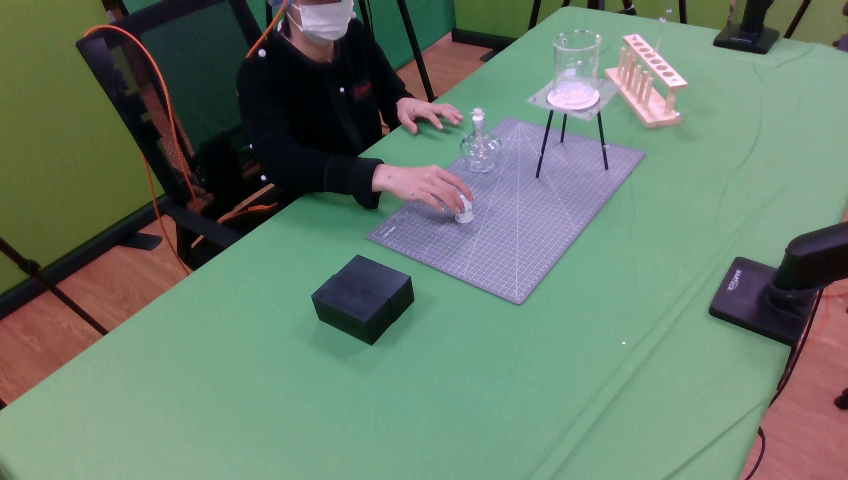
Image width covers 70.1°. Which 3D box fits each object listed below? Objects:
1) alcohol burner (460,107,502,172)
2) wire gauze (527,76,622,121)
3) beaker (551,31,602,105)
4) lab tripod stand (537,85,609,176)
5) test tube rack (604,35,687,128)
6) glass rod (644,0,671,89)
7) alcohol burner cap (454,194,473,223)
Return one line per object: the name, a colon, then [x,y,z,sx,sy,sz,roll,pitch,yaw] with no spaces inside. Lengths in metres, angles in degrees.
alcohol burner: [0.102,-0.185,1.098,0.078,0.119,0.077,-6,40,5]
wire gauze: [0.255,-0.247,1.030,0.124,0.011,0.122,23,49,34]
beaker: [0.252,-0.282,0.998,0.084,0.101,0.073,-16,42,-7]
lab tripod stand: [0.259,-0.192,1.068,0.148,0.132,0.147,-4,43,4]
test tube rack: [0.447,-0.330,1.241,0.067,0.085,0.241,-9,41,-2]
glass rod: [0.463,-0.387,1.204,0.008,0.200,0.008,0,47,1]
alcohol burner cap: [0.065,-0.054,1.005,0.034,0.048,0.033,-3,40,3]
